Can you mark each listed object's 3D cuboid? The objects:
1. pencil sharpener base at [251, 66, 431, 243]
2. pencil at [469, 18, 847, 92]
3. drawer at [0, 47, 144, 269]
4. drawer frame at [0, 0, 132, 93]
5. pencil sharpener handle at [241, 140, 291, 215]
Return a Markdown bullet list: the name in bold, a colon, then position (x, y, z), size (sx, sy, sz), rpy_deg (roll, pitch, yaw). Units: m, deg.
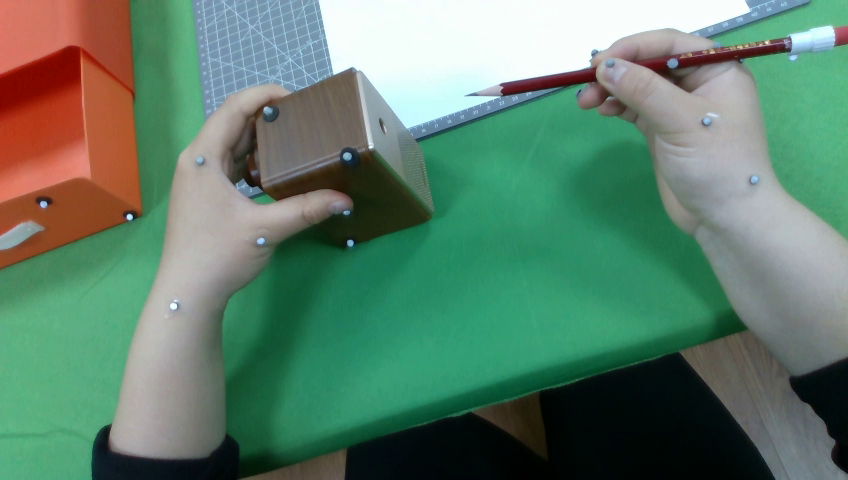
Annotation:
- **pencil sharpener base**: position (-0.050, -0.048, 0.387), size (0.076, 0.108, 0.061), rpy_deg (-18, 67, 15)
- **pencil**: position (0.119, -0.095, 0.322), size (0.194, 0.012, 0.012), rpy_deg (-6, 69, 12)
- **drawer**: position (-0.341, -0.088, 0.495), size (0.194, 0.074, 0.210), rpy_deg (-20, 66, 8)
- **drawer frame**: position (-0.373, -0.193, 0.539), size (0.201, 0.083, 0.211), rpy_deg (-19, 66, 7)
- **pencil sharpener handle**: position (-0.101, -0.035, 0.389), size (0.030, 0.068, 0.035), rpy_deg (-18, 64, 15)
